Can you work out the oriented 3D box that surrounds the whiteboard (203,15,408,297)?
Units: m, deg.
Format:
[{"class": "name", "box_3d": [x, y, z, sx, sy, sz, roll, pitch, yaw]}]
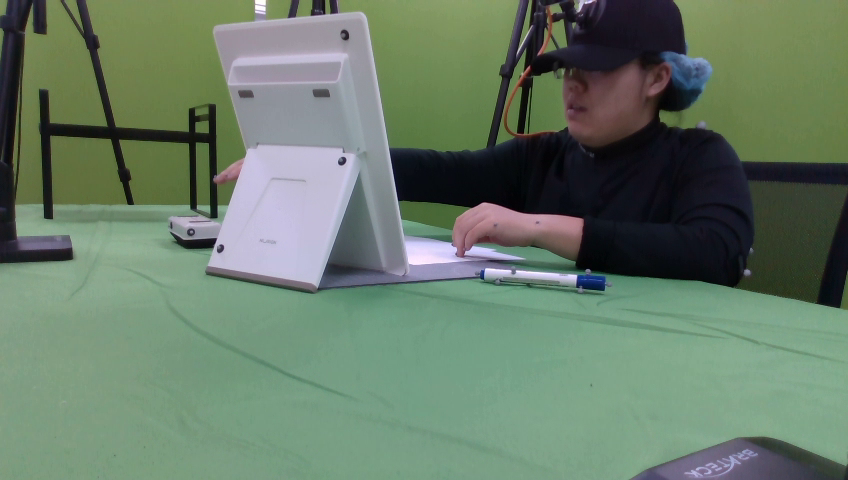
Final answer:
[{"class": "whiteboard", "box_3d": [-0.166, -0.072, 0.668, 0.216, 0.305, 0.144, 8, 30, 30]}]

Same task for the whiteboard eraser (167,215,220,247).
[{"class": "whiteboard eraser", "box_3d": [-0.350, -0.014, 0.919, 0.056, 0.042, 0.112, 0, 7, -35]}]

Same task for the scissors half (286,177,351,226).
[{"class": "scissors half", "box_3d": [-0.232, -0.085, 1.317, 0.175, 0.013, 0.040, 38, 19, 4]}]

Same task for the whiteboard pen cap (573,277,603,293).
[{"class": "whiteboard pen cap", "box_3d": [0.186, 0.051, 0.687, 0.033, 0.018, 0.018, 4, 8, 17]}]

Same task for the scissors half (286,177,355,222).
[{"class": "scissors half", "box_3d": [-0.229, -0.091, 1.337, 0.175, 0.013, 0.040, 33, 14, -13]}]

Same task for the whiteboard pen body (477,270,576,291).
[{"class": "whiteboard pen body", "box_3d": [0.131, 0.048, 0.706, 0.140, 0.017, 0.017, 4, 8, 18]}]
